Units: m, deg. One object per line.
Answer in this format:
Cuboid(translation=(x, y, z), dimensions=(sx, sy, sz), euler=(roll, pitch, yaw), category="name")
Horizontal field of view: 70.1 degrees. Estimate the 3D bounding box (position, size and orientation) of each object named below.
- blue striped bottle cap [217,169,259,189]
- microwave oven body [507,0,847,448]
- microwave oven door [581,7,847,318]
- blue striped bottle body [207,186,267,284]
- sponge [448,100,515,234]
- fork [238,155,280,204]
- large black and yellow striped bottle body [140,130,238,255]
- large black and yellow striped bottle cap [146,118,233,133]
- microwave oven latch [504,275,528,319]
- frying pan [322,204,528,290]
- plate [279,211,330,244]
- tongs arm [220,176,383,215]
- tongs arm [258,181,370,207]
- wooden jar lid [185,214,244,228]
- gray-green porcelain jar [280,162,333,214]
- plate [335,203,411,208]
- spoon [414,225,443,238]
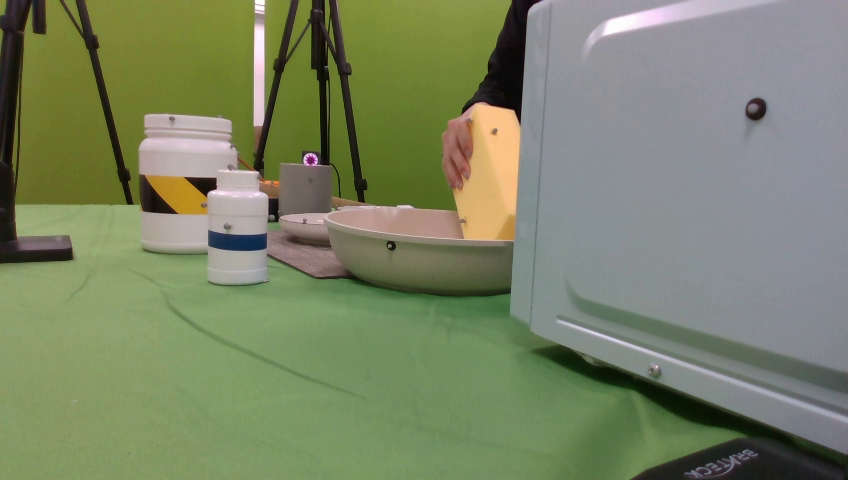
Cuboid(translation=(-0.202, -0.067, 0.656), dimensions=(0.044, 0.020, 0.044), euler=(0, 10, 0), category="blue striped bottle cap")
Cuboid(translation=(0.331, -0.042, 0.425), dimensions=(0.444, 0.260, 0.324), euler=(-2, 8, -31), category="microwave oven body")
Cuboid(translation=(0.295, -0.067, 0.569), dimensions=(0.358, 0.243, 0.039), euler=(-3, 8, -31), category="microwave oven door")
Cuboid(translation=(-0.204, -0.016, 0.663), dimensions=(0.063, 0.120, 0.063), euler=(2, 7, 0), category="blue striped bottle body")
Cuboid(translation=(0.093, -0.071, 0.783), dimensions=(0.061, 0.118, 0.206), euler=(5, 47, -18), category="sponge")
Cuboid(translation=(-0.396, -0.143, 1.486), dimensions=(0.028, 0.018, 0.208), euler=(19, -26, 44), category="fork")
Cuboid(translation=(-0.336, -0.078, 0.871), dimensions=(0.131, 0.184, 0.130), euler=(2, 8, 0), category="large black and yellow striped bottle body")
Cuboid(translation=(-0.333, -0.163, 0.861), dimensions=(0.115, 0.019, 0.115), euler=(1, 9, 0), category="large black and yellow striped bottle cap")
Cuboid(translation=(0.100, 0.042, 0.471), dimensions=(0.079, 0.029, 0.030), euler=(-1, 7, -28), category="microwave oven latch")
Cuboid(translation=(0.109, -0.017, 0.800), dimensions=(0.490, 0.102, 0.305), euler=(-12, 16, -30), category="frying pan")
Cuboid(translation=(-0.139, -0.022, 1.021), dimensions=(0.209, 0.038, 0.209), euler=(2, 8, 0), category="plate")
Cuboid(translation=(-0.285, -0.103, 1.445), dimensions=(0.389, 0.027, 0.028), euler=(9, -4, -23), category="tongs arm")
Cuboid(translation=(-0.241, -0.095, 1.373), dimensions=(0.387, 0.026, 0.050), euler=(9, -1, -37), category="tongs arm")
Cuboid(translation=(-0.404, -0.037, 1.169), dimensions=(0.108, 0.020, 0.108), euler=(3, 7, 0), category="wooden jar lid")
Cuboid(translation=(-0.238, -0.092, 1.221), dimensions=(0.106, 0.126, 0.106), euler=(2, 7, 0), category="gray-green porcelain jar")
Cuboid(translation=(-0.089, -0.053, 1.309), dimensions=(0.208, 0.039, 0.207), euler=(2, 8, 0), category="plate")
Cuboid(translation=(0.016, -0.020, 1.113), dimensions=(0.041, 0.021, 0.194), euler=(-14, 3, 12), category="spoon")
